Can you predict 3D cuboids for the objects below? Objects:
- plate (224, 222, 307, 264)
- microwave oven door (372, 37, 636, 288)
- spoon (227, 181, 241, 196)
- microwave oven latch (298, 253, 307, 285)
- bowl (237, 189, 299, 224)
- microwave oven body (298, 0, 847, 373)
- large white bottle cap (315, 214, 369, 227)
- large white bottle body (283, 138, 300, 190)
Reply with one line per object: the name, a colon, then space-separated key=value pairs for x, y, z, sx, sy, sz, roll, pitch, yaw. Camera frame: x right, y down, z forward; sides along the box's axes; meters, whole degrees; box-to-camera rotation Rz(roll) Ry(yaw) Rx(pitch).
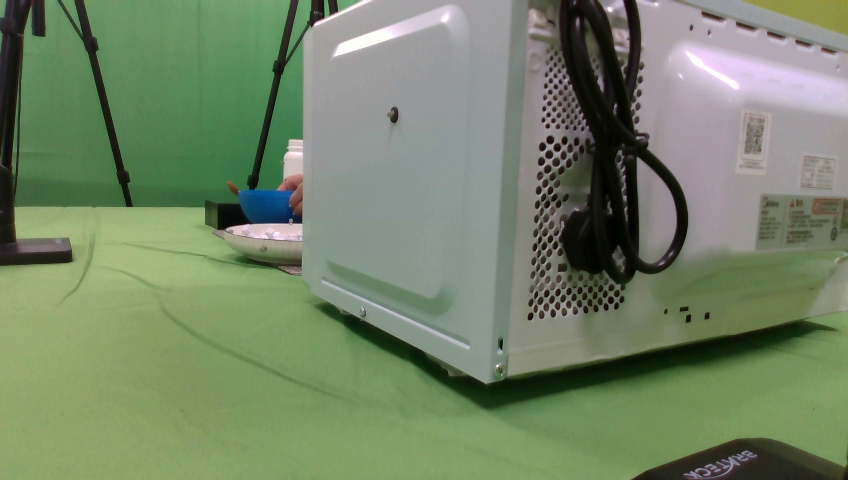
plate: x=-0.171 y=0.004 z=0.849 sx=0.209 sy=0.038 sz=0.209 roll=2 pitch=7 yaw=0
microwave oven door: x=0.110 y=-0.080 z=0.686 sx=0.358 sy=0.243 sz=0.039 roll=-2 pitch=9 yaw=-33
spoon: x=-0.315 y=-0.074 z=1.234 sx=0.195 sy=0.021 sz=0.041 roll=24 pitch=-13 yaw=-37
microwave oven latch: x=-0.081 y=0.027 z=0.582 sx=0.079 sy=0.029 sz=0.030 roll=-1 pitch=7 yaw=-32
bowl: x=-0.247 y=-0.046 z=1.055 sx=0.151 sy=0.077 sz=0.151 roll=3 pitch=8 yaw=0
microwave oven body: x=0.151 y=-0.055 z=0.542 sx=0.444 sy=0.260 sz=0.324 roll=-2 pitch=7 yaw=-33
large white bottle cap: x=-0.177 y=-0.042 z=1.308 sx=0.115 sy=0.018 sz=0.115 roll=4 pitch=7 yaw=0
large white bottle body: x=-0.265 y=-0.144 z=1.423 sx=0.131 sy=0.184 sz=0.130 roll=2 pitch=7 yaw=0
